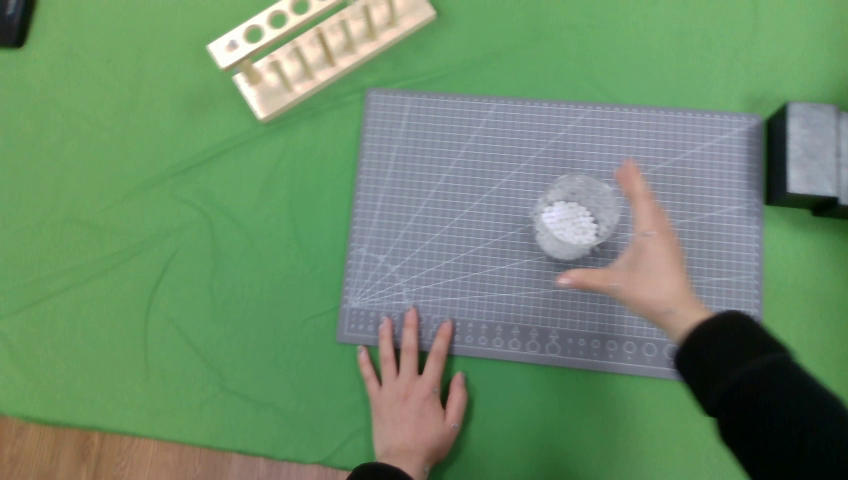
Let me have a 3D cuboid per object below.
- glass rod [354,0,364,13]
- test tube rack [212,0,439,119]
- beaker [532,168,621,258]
[{"bbox_3d":[-0.086,-0.283,0.623,0.008,0.200,0.008,-1,84,8],"label":"glass rod"},{"bbox_3d":[-0.105,-0.240,0.684,0.242,0.085,0.066,-32,79,-2],"label":"test tube rack"},{"bbox_3d":[0.148,-0.022,0.621,0.084,0.100,0.073,-6,79,3],"label":"beaker"}]
